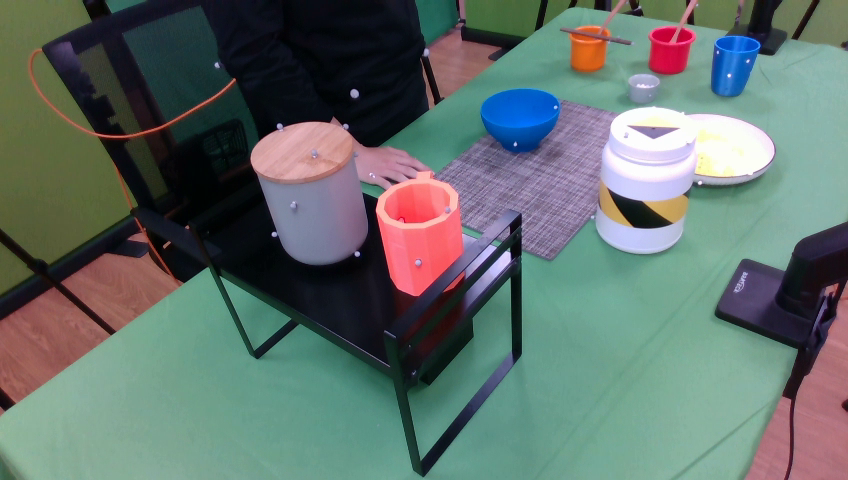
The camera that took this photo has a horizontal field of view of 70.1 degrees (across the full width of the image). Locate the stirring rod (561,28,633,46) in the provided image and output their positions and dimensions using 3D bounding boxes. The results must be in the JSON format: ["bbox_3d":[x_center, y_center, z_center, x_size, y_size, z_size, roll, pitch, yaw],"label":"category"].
[{"bbox_3d":[0.382,-0.453,1.346,0.174,0.006,0.014,27,53,34],"label":"stirring rod"}]

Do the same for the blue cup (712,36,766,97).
[{"bbox_3d":[0.627,-0.350,1.227,0.092,0.100,0.092,-4,39,4],"label":"blue cup"}]

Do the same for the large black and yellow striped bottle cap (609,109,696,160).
[{"bbox_3d":[0.320,-0.150,0.849,0.115,0.019,0.114,-4,40,3],"label":"large black and yellow striped bottle cap"}]

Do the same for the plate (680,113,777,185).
[{"bbox_3d":[0.506,-0.158,1.073,0.209,0.038,0.208,-5,40,4],"label":"plate"}]

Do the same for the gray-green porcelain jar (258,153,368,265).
[{"bbox_3d":[-0.122,-0.043,0.692,0.106,0.127,0.105,-4,40,4],"label":"gray-green porcelain jar"}]

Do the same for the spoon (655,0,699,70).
[{"bbox_3d":[0.567,-0.463,1.337,0.041,0.022,0.193,30,96,38],"label":"spoon"}]

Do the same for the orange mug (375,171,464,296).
[{"bbox_3d":[-0.001,-0.016,0.662,0.083,0.101,0.125,-2,45,8],"label":"orange mug"}]

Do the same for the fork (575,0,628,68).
[{"bbox_3d":[0.413,-0.481,1.377,0.207,0.019,0.028,-57,42,12],"label":"fork"}]

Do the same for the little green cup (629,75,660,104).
[{"bbox_3d":[0.457,-0.313,1.260,0.061,0.039,0.061,-4,39,4],"label":"little green cup"}]

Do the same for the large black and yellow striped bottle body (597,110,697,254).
[{"bbox_3d":[0.331,-0.086,0.904,0.131,0.185,0.130,-5,41,4],"label":"large black and yellow striped bottle body"}]

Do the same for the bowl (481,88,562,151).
[{"bbox_3d":[0.187,-0.223,1.161,0.151,0.077,0.150,-4,40,4],"label":"bowl"}]

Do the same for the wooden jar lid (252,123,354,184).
[{"bbox_3d":[-0.129,-0.090,0.652,0.108,0.021,0.108,-3,41,4],"label":"wooden jar lid"}]
